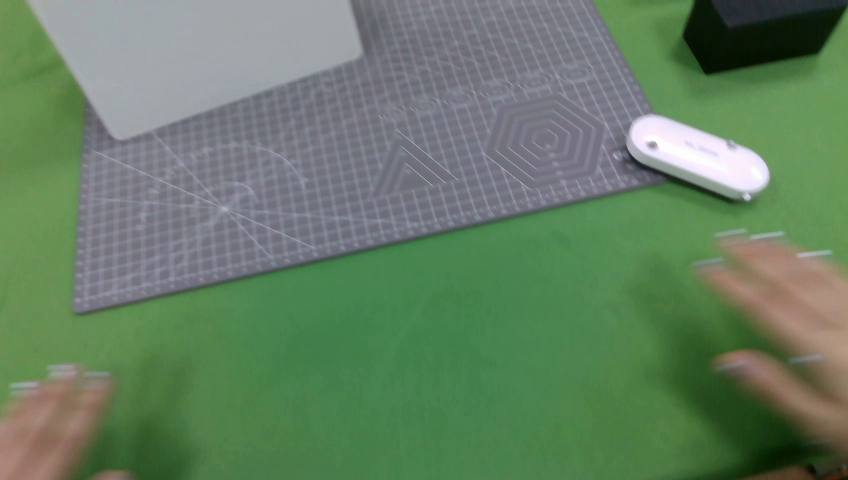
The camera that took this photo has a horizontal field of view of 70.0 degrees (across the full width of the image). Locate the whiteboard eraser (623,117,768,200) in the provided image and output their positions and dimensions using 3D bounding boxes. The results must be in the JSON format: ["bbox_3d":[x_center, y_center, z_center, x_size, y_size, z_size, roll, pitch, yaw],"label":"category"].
[{"bbox_3d":[0.199,-0.060,0.445,0.101,0.019,0.041,24,63,14],"label":"whiteboard eraser"}]

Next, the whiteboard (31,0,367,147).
[{"bbox_3d":[-0.198,-0.266,0.454,0.217,0.308,0.142,-21,42,-8],"label":"whiteboard"}]
